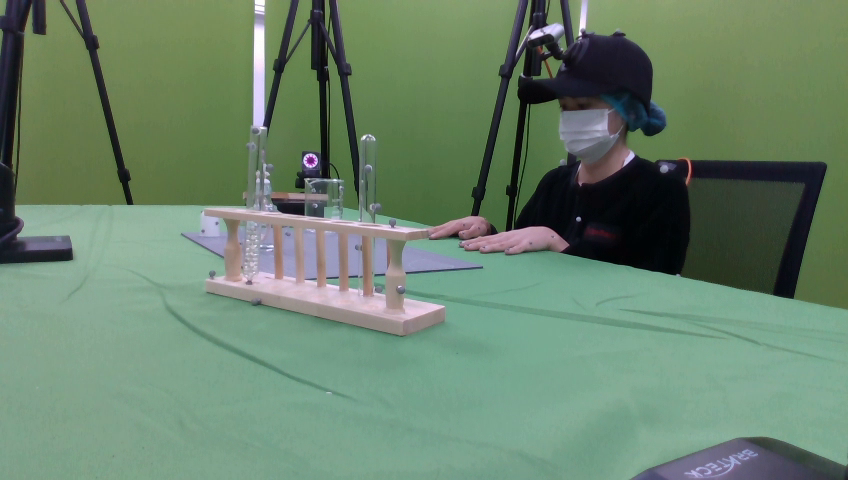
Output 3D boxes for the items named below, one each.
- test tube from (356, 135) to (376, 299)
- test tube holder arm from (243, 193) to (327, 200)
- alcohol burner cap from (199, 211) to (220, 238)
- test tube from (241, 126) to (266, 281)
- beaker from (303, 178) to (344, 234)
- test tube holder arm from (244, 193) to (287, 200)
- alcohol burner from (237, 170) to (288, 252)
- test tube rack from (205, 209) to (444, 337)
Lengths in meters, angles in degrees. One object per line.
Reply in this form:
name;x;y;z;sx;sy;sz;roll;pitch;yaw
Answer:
test tube;-0.053;-0.019;0.550;0.017;0.150;0.017;2;9;0
test tube holder arm;-0.287;-0.090;1.261;0.179;0.015;0.013;-2;3;-33
alcohol burner cap;-0.356;-0.027;1.002;0.034;0.048;0.034;2;7;0
test tube;-0.164;-0.034;0.582;0.017;0.150;0.017;6;9;-1
beaker;-0.189;-0.063;1.119;0.073;0.100;0.084;6;9;28
test tube holder arm;-0.322;-0.089;1.232;0.088;0.015;0.010;-2;3;-32
alcohol burner;-0.236;-0.042;0.882;0.078;0.119;0.078;2;9;0
test tube rack;-0.100;0.021;0.565;0.241;0.085;0.067;7;8;32
